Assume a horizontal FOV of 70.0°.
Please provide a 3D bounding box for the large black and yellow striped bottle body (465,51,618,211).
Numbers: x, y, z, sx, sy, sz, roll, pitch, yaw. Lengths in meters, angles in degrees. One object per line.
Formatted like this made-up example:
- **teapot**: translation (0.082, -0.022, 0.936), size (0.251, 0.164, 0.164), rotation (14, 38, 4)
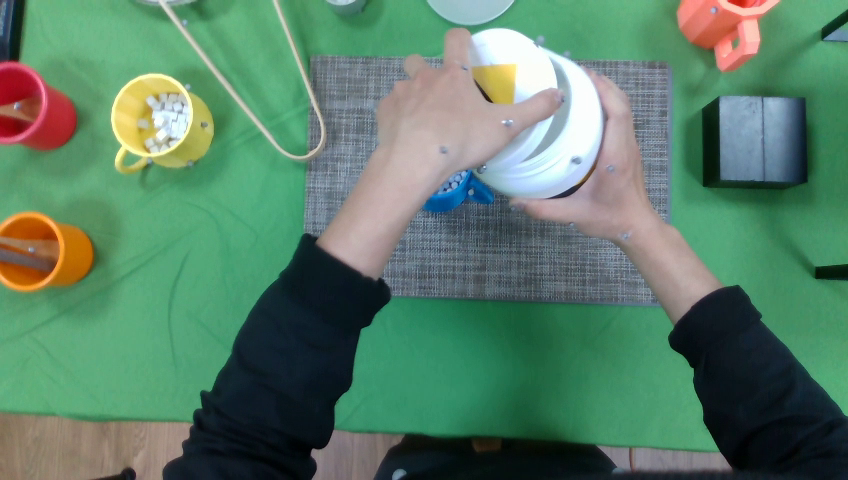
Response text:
- **large black and yellow striped bottle body**: translation (0.109, -0.104, 0.590), size (0.130, 0.185, 0.130), rotation (-3, 83, 26)

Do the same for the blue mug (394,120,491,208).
- **blue mug**: translation (0.026, -0.078, 0.705), size (0.116, 0.106, 0.082), rotation (27, 87, 4)

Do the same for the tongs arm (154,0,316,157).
- **tongs arm**: translation (-0.270, -0.253, 0.744), size (0.051, 0.026, 0.385), rotation (-37, 93, -4)

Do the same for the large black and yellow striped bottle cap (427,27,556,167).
- **large black and yellow striped bottle cap**: translation (0.053, -0.119, 0.504), size (0.114, 0.019, 0.115), rotation (-3, 85, 34)

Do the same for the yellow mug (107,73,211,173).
- **yellow mug**: translation (-0.333, -0.134, 0.745), size (0.100, 0.064, 0.131), rotation (40, 90, 4)

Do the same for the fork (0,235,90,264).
- **fork**: translation (-0.501, -0.004, 0.699), size (0.209, 0.018, 0.028), rotation (18, 85, -40)

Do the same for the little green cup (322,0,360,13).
- **little green cup**: translation (-0.107, -0.319, 0.762), size (0.061, 0.038, 0.061), rotation (0, 87, 2)

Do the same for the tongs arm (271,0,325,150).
- **tongs arm**: translation (-0.198, -0.297, 0.748), size (0.028, 0.027, 0.387), rotation (-23, 93, -8)

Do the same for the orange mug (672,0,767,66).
- **orange mug**: translation (0.356, -0.276, 0.713), size (0.083, 0.101, 0.126), rotation (-8, 82, 2)

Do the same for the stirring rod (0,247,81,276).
- **stirring rod**: translation (-0.493, 0.015, 0.701), size (0.006, 0.178, 0.014), rotation (-11, 66, 44)

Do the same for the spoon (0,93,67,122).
- **spoon**: translation (-0.529, -0.149, 0.713), size (0.194, 0.021, 0.041), rotation (-20, 82, -44)

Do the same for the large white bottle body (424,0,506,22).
- **large white bottle body**: translation (0.048, -0.347, 0.685), size (0.130, 0.185, 0.130), rotation (0, 86, 2)

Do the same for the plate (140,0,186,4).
- **plate**: translation (-0.328, -0.400, 0.775), size (0.207, 0.039, 0.207), rotation (0, 87, 2)
